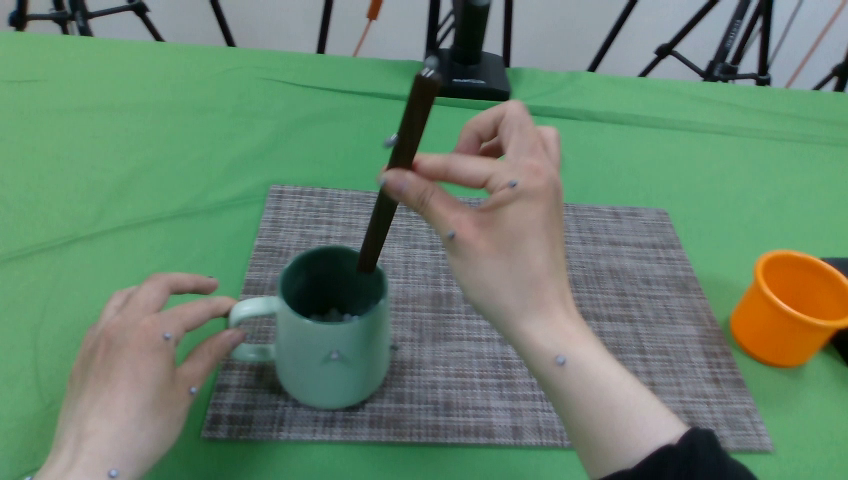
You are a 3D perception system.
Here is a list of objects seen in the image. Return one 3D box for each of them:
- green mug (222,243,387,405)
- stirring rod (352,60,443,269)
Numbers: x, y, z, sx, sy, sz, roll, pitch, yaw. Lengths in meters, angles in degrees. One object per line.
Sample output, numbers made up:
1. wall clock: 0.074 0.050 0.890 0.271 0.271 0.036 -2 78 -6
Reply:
1. green mug: -0.089 0.067 0.462 0.126 0.106 0.091 -4 45 -13
2. stirring rod: -0.020 -0.034 0.363 0.014 0.177 0.005 11 51 -12
